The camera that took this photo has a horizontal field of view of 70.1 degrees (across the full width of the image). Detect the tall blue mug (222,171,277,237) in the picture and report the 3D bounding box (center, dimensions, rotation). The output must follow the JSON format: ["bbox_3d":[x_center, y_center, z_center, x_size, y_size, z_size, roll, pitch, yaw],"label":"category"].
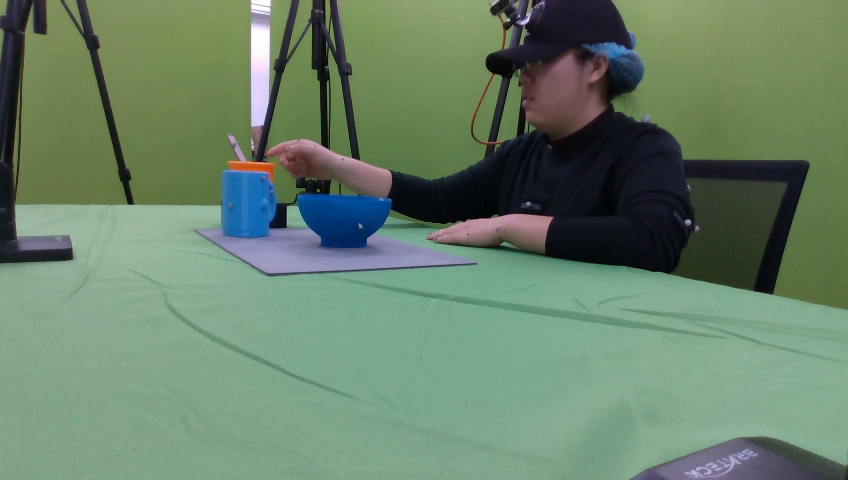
[{"bbox_3d":[-0.303,-0.064,1.043,0.078,0.108,0.107,1,7,-4],"label":"tall blue mug"}]

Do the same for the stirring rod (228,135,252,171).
[{"bbox_3d":[-0.353,-0.148,1.197,0.014,0.006,0.175,-5,53,-45],"label":"stirring rod"}]

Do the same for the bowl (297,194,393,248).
[{"bbox_3d":[-0.127,-0.030,0.964,0.151,0.077,0.151,2,7,0],"label":"bowl"}]
